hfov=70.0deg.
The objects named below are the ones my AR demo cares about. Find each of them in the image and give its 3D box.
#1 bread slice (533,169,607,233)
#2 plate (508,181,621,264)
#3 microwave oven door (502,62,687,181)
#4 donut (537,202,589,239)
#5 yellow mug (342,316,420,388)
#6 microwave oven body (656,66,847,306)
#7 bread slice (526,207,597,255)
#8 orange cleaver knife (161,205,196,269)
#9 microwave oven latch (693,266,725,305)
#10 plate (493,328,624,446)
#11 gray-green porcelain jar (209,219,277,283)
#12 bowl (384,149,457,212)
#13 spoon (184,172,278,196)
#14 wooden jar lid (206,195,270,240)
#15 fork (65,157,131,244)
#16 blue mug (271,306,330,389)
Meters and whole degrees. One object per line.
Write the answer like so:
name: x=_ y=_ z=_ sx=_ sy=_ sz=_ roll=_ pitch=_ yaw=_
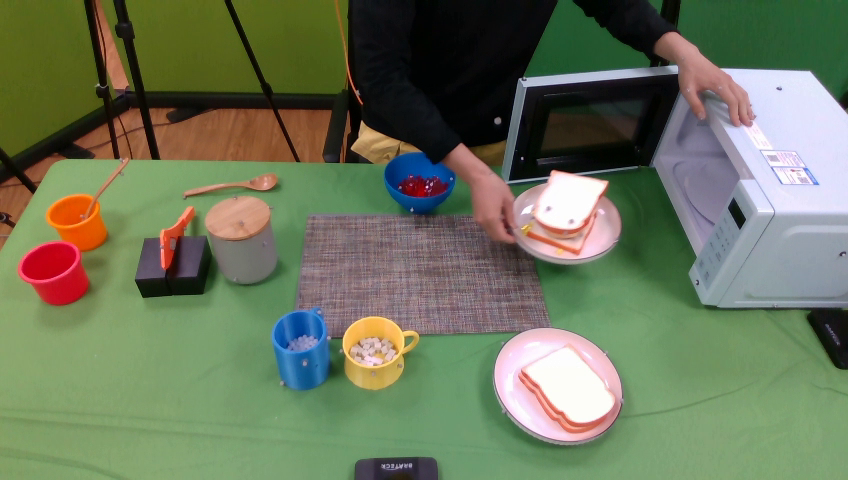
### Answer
bread slice: x=0.260 y=-0.069 z=1.094 sx=0.106 sy=0.018 sz=0.134 roll=14 pitch=58 yaw=27
plate: x=0.261 y=-0.030 z=1.138 sx=0.209 sy=0.038 sz=0.208 roll=-1 pitch=47 yaw=2
microwave oven door: x=0.353 y=-0.247 z=1.277 sx=0.356 sy=0.245 sz=0.039 roll=-8 pitch=48 yaw=-11
donut: x=0.254 y=-0.047 z=1.116 sx=0.099 sy=0.048 sz=0.098 roll=-10 pitch=55 yaw=14
yellow mug: x=-0.068 y=0.177 z=0.990 sx=0.131 sy=0.064 sz=0.099 roll=-16 pitch=50 yaw=-19
microwave oven body: x=0.669 y=-0.111 z=1.176 sx=0.326 sy=0.261 sz=0.439 roll=0 pitch=46 yaw=-3
bread slice: x=0.266 y=-0.038 z=1.147 sx=0.104 sy=0.019 sz=0.131 roll=22 pitch=53 yaw=20
orange cleaver knife: x=-0.454 y=-0.010 z=1.129 sx=0.012 sy=0.077 sz=0.210 roll=-1 pitch=20 yaw=-5
microwave oven latch: x=0.523 y=0.082 z=1.116 sx=0.030 sy=0.029 sz=0.078 roll=2 pitch=46 yaw=0
plate: x=0.213 y=0.236 z=0.974 sx=0.208 sy=0.039 sz=0.206 roll=2 pitch=46 yaw=-2
gray-green porcelain jar: x=-0.323 y=0.007 z=1.092 sx=0.106 sy=0.127 sz=0.105 roll=2 pitch=46 yaw=-2
bowl: x=-0.009 y=-0.112 z=1.262 sx=0.151 sy=0.077 sz=0.150 roll=2 pitch=46 yaw=-2
spoon: x=-0.406 y=-0.116 z=1.275 sx=0.194 sy=0.022 sz=0.041 roll=-8 pitch=66 yaw=-12
wooden jar lid: x=-0.319 y=-0.036 z=1.046 sx=0.108 sy=0.021 sz=0.107 roll=1 pitch=44 yaw=0
fork: x=-0.609 y=-0.074 z=1.133 sx=0.207 sy=0.019 sz=0.028 roll=-52 pitch=50 yaw=10
blue mug: x=-0.188 y=0.163 z=0.969 sx=0.082 sy=0.106 sz=0.116 roll=15 pitch=47 yaw=10
